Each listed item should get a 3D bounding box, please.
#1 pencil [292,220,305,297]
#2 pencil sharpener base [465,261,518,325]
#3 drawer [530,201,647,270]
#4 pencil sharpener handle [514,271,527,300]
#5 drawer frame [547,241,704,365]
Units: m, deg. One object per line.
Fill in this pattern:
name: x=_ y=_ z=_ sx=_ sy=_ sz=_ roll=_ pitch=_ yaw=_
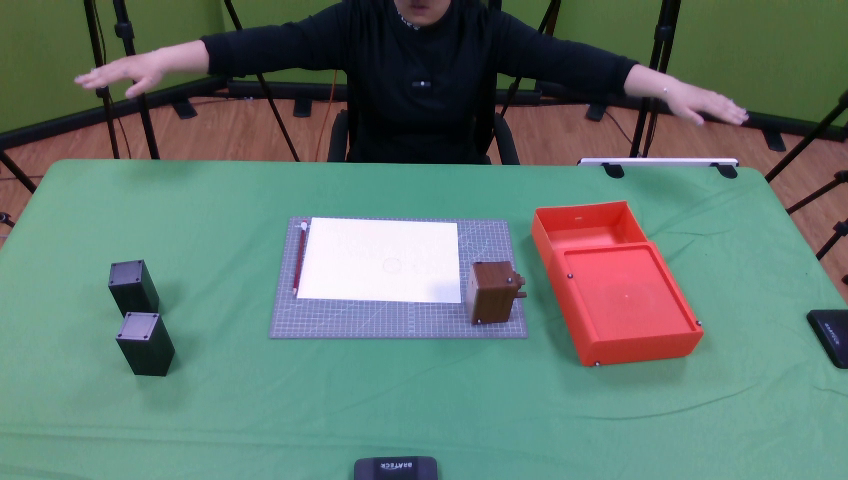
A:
pencil: x=-0.240 y=0.032 z=1.152 sx=0.012 sy=0.012 sz=0.193 roll=1 pitch=47 yaw=-4
pencil sharpener base: x=0.117 y=0.092 z=1.052 sx=0.077 sy=0.107 sz=0.061 roll=-3 pitch=46 yaw=-7
drawer: x=0.328 y=0.025 z=1.159 sx=0.195 sy=0.073 sz=0.210 roll=-5 pitch=46 yaw=-9
pencil sharpener handle: x=0.168 y=0.081 z=1.051 sx=0.031 sy=0.068 sz=0.035 roll=-3 pitch=49 yaw=-7
drawer frame: x=0.348 y=0.106 z=1.077 sx=0.202 sy=0.083 sz=0.212 roll=-4 pitch=47 yaw=-9
